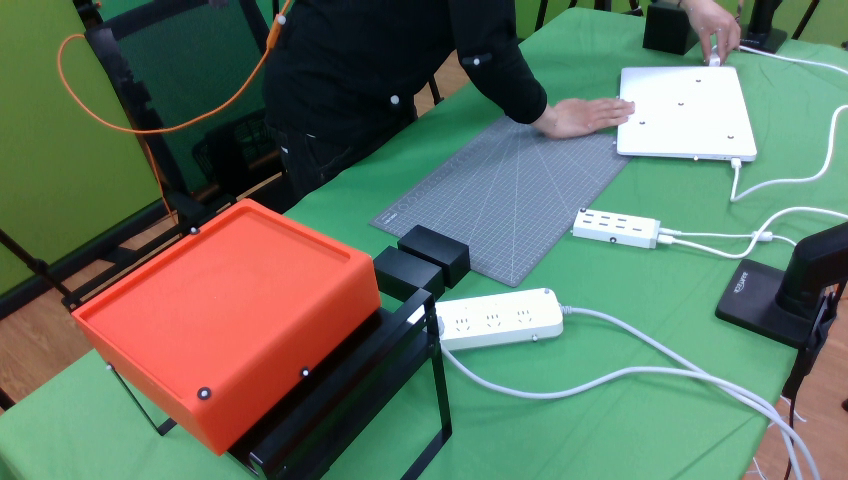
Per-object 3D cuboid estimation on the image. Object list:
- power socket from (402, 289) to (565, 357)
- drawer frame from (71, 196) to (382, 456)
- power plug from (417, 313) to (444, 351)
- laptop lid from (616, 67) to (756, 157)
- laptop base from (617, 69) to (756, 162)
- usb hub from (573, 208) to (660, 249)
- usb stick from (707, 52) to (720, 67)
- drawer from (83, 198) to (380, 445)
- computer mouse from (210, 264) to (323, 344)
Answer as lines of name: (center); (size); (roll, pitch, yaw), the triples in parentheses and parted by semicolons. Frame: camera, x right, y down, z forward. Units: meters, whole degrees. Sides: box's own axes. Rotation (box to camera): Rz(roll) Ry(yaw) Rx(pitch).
power socket: (0.081, 0.112, 0.822); (0.227, 0.033, 0.072); (-7, 41, -1)
drawer frame: (-0.186, 0.068, 0.597); (0.200, 0.083, 0.214); (23, 49, 30)
power plug: (0.007, 0.127, 0.786); (0.035, 0.053, 0.072); (0, 43, 8)
laptop lid: (0.506, -0.263, 1.195); (0.240, 0.013, 0.356); (5, 41, 18)
laptop base: (0.509, -0.254, 1.202); (0.234, 0.023, 0.353); (3, 41, 17)
usb hub: (0.302, -0.019, 0.950); (0.124, 0.025, 0.049); (11, 43, 20)
usb stick: (0.630, -0.384, 1.316); (0.021, 0.027, 0.059); (8, 46, 16)
drawer: (-0.184, 0.066, 0.600); (0.193, 0.073, 0.212); (24, 50, 31)
computer mouse: (-0.164, 0.062, 0.624); (0.116, 0.041, 0.063); (22, 44, 27)
